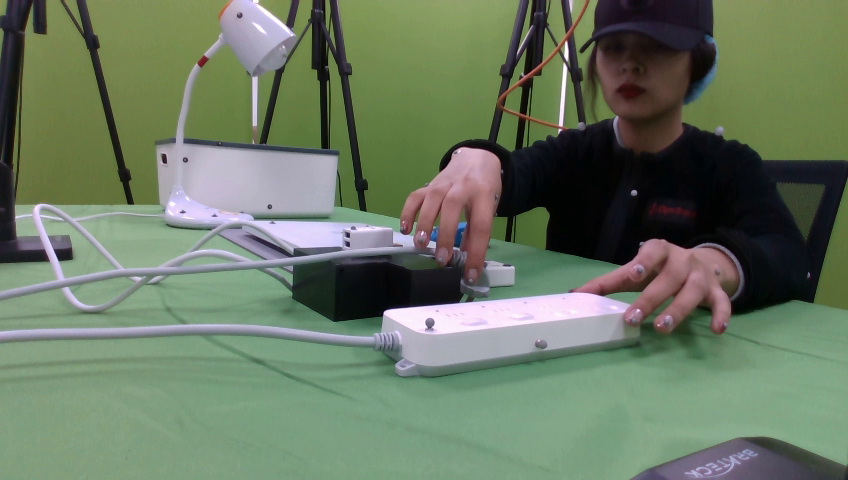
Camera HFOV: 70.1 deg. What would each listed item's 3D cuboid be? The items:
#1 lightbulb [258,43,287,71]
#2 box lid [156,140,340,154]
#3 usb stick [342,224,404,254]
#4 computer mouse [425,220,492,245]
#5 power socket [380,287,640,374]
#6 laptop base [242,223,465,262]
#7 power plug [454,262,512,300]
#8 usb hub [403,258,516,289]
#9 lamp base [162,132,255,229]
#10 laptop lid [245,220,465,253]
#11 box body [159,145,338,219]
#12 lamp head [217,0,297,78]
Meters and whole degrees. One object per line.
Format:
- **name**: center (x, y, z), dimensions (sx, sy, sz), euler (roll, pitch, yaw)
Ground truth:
- **lightbulb**: center (-0.295, -0.357, 1.101), dimensions (0.059, 0.107, 0.059), euler (-38, 2, 2)
- **box lid**: center (-0.409, -0.213, 1.404), dimensions (0.373, 0.015, 0.262), euler (-2, 8, -32)
- **usb stick**: center (-0.047, -0.002, 0.567), dimensions (0.059, 0.027, 0.021), euler (0, 5, -32)
- **computer mouse**: center (0.060, -0.013, 1.059), dimensions (0.117, 0.041, 0.062), euler (-2, 10, -5)
- **power socket**: center (0.072, 0.063, 0.461), dimensions (0.228, 0.032, 0.072), euler (-3, 8, -30)
- **laptop base**: center (-0.126, 0.003, 0.945), dimensions (0.237, 0.023, 0.352), euler (2, 6, -31)
- **power plug**: center (0.051, 0.051, 0.545), dimensions (0.035, 0.052, 0.072), euler (4, 40, -26)
- **usb hub**: center (0.042, 0.038, 0.689), dimensions (0.126, 0.025, 0.049), euler (-2, 9, -30)
- **lamp base**: center (-0.419, -0.116, 1.156), dimensions (0.179, 0.180, 0.160), euler (0, 8, 0)
- **laptop lid**: center (-0.124, -0.009, 0.945), dimensions (0.243, 0.013, 0.355), euler (1, 7, -29)
- **box body**: center (-0.410, -0.139, 1.414), dimensions (0.366, 0.160, 0.253), euler (-3, 9, -33)
- **lamp head**: center (-0.315, -0.372, 1.101), dimensions (0.123, 0.112, 0.112), euler (41, 3, -9)
